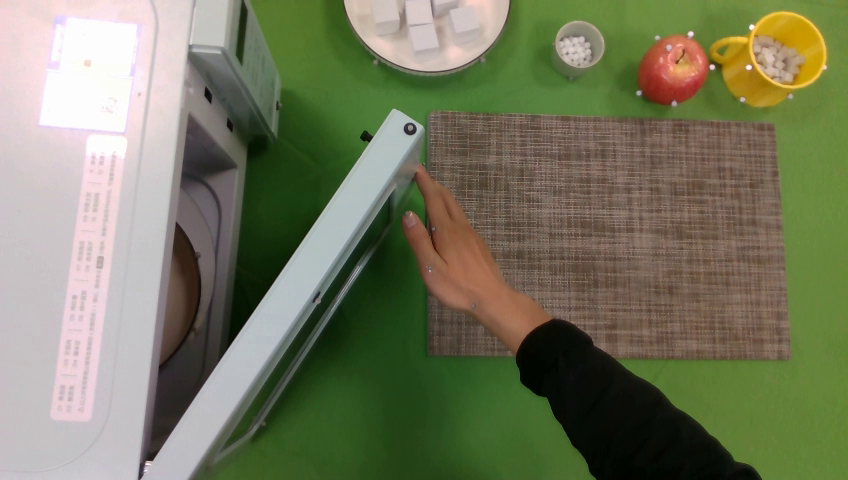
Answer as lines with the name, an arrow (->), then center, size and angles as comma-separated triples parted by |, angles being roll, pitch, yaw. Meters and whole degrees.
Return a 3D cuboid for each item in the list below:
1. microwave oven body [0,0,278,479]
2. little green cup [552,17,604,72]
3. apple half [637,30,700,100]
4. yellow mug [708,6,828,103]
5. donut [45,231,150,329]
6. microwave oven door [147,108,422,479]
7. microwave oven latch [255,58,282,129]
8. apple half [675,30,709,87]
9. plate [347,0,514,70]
microwave oven body -> -0.336, -0.020, 0.578 | 0.326, 0.260, 0.440 | 4, 83, -4
little green cup -> 0.191, -0.243, 0.762 | 0.061, 0.038, 0.061 | 1, 83, -4
apple half -> 0.293, -0.208, 0.748 | 0.053, 0.074, 0.081 | -25, 89, -2
yellow mug -> 0.426, -0.236, 0.764 | 0.131, 0.064, 0.099 | 12, 81, -2
donut -> -0.328, 0.040, 0.610 | 0.099, 0.048, 0.099 | 0, 86, -3
microwave oven door -> -0.114, 0.059, 0.580 | 0.039, 0.244, 0.355 | 32, 82, 2
microwave oven latch -> -0.184, -0.171, 0.705 | 0.030, 0.029, 0.079 | 6, 83, -4
apple half -> 0.328, -0.225, 0.751 | 0.033, 0.081, 0.081 | -26, 85, -2
plate -> 0.007, -0.307, 0.755 | 0.208, 0.039, 0.207 | 1, 83, -4
